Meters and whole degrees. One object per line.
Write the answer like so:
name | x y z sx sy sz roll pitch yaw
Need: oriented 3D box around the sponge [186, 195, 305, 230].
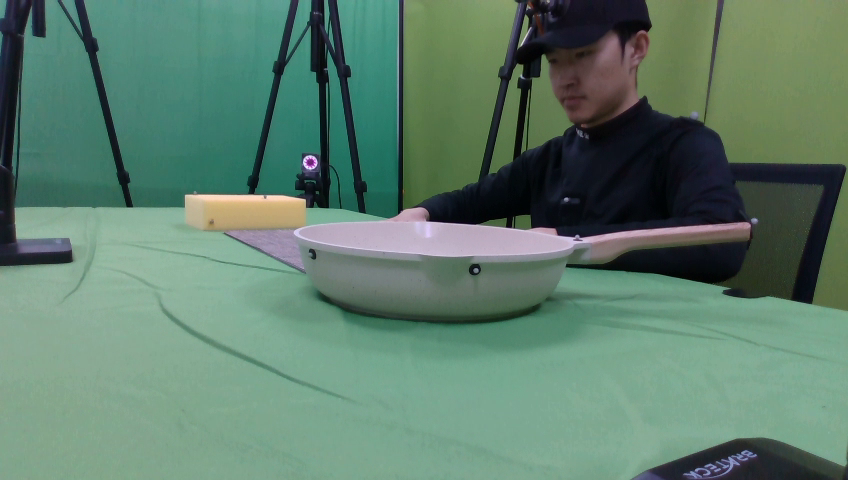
sponge | -0.358 -0.057 1.219 0.208 0.061 0.117 -3 8 -37

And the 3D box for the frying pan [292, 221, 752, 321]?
frying pan | 0.112 0.012 0.644 0.488 0.102 0.306 -6 8 -2
